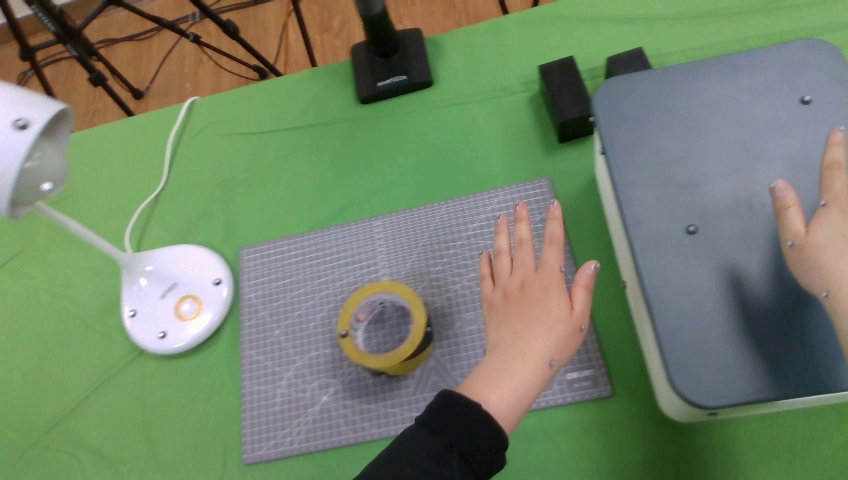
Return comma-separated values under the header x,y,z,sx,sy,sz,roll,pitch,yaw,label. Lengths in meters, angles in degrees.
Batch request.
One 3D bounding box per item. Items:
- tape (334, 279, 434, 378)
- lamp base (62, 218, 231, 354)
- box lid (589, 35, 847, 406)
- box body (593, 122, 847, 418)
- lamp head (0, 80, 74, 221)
x,y,z,sx,sy,sz,roll,pitch,yaw,label
-0.050,0.108,0.745,0.116,0.053,0.116,-4,64,9,tape
-0.369,0.043,0.776,0.178,0.182,0.160,24,72,24,lamp base
0.326,-0.039,0.590,0.263,0.015,0.368,-10,64,7,box lid
0.341,-0.006,0.654,0.254,0.162,0.361,-11,64,7,box body
-0.377,-0.088,0.506,0.123,0.112,0.112,23,69,-15,lamp head
